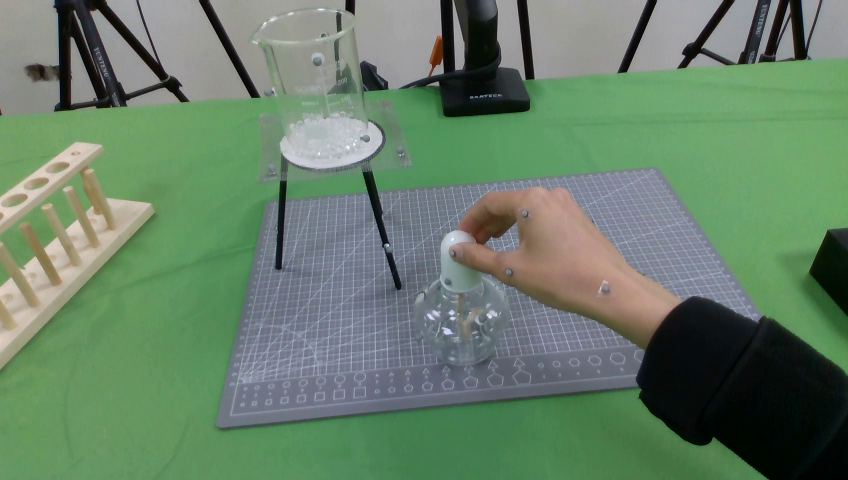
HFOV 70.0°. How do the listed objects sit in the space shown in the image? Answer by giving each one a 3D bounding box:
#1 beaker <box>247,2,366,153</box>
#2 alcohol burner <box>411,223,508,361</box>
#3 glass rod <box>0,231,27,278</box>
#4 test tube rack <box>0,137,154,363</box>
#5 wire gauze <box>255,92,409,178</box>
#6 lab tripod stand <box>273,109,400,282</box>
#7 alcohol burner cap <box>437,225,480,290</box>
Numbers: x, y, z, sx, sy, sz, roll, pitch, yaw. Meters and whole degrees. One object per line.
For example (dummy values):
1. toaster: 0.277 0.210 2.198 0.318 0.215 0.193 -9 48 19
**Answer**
1. beaker: -0.089 -0.128 0.486 0.084 0.101 0.073 -9 40 -5
2. alcohol burner: 0.027 0.037 0.473 0.078 0.120 0.077 -3 38 2
3. glass rod: -0.398 -0.047 0.528 0.008 0.201 0.008 -6 34 4
4. test tube rack: -0.367 0.003 0.570 0.066 0.086 0.240 8 41 13
5. wire gauze: -0.082 -0.090 0.517 0.125 0.011 0.120 -11 38 -4
6. lab tripod stand: -0.079 -0.040 0.560 0.148 0.133 0.147 -2 42 2
7. alcohol burner cap: 0.025 0.011 0.449 0.034 0.048 0.033 -3 44 4
